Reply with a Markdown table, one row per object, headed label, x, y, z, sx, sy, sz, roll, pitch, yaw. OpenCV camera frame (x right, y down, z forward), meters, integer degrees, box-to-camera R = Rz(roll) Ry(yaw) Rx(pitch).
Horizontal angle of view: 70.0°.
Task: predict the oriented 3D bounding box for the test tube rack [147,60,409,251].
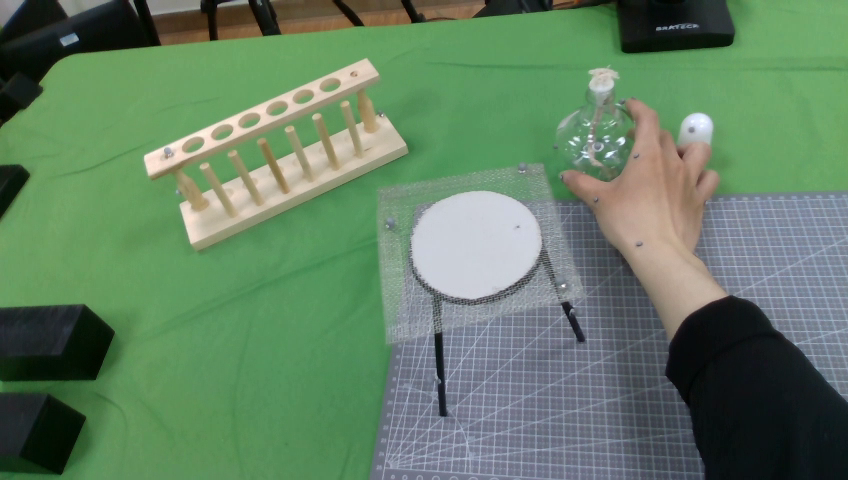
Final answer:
| label | x | y | z | sx | sy | sz | roll | pitch | yaw |
| --- | --- | --- | --- | --- | --- | --- | --- | --- | --- |
| test tube rack | -0.144 | -0.088 | 0.623 | 0.242 | 0.086 | 0.066 | -26 | 52 | -8 |

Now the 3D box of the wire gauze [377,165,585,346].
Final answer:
| label | x | y | z | sx | sy | sz | roll | pitch | yaw |
| --- | --- | --- | --- | --- | --- | --- | --- | --- | --- |
| wire gauze | 0.030 | 0.002 | 0.392 | 0.121 | 0.011 | 0.124 | -10 | 52 | 5 |

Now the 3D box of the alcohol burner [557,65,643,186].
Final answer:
| label | x | y | z | sx | sy | sz | roll | pitch | yaw |
| --- | --- | --- | --- | --- | --- | --- | --- | --- | --- |
| alcohol burner | 0.161 | -0.107 | 0.552 | 0.078 | 0.120 | 0.077 | -6 | 50 | 8 |

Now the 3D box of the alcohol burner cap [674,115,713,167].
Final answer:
| label | x | y | z | sx | sy | sz | roll | pitch | yaw |
| --- | --- | --- | --- | --- | --- | --- | --- | --- | --- |
| alcohol burner cap | 0.256 | -0.095 | 0.569 | 0.034 | 0.048 | 0.033 | -6 | 53 | 9 |

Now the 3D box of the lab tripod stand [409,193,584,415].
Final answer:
| label | x | y | z | sx | sy | sz | roll | pitch | yaw |
| --- | --- | --- | --- | --- | --- | --- | --- | --- | --- |
| lab tripod stand | 0.044 | 0.045 | 0.443 | 0.148 | 0.133 | 0.147 | -5 | 54 | 8 |
